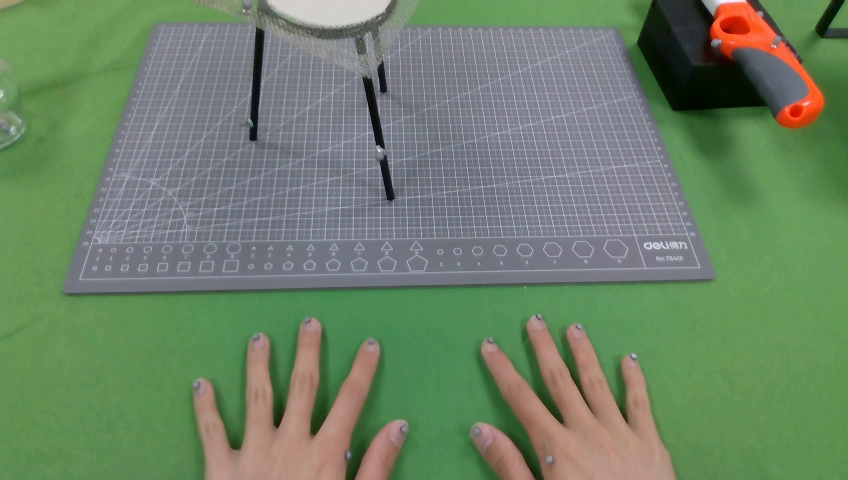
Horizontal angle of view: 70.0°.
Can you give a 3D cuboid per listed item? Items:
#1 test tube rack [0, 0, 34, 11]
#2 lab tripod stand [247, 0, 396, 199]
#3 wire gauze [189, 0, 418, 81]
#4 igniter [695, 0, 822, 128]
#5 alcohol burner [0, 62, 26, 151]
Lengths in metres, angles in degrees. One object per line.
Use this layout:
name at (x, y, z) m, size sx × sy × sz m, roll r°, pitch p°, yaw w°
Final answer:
test tube rack at (-0.354, -0.310, 0.596) m, size 0.242 × 0.086 × 0.066 m, roll -33°, pitch 62°, yaw -24°
lab tripod stand at (-0.063, -0.119, 0.442) m, size 0.148 × 0.132 × 0.147 m, roll 3°, pitch 54°, yaw -4°
wire gauze at (-0.064, -0.160, 0.388) m, size 0.124 × 0.011 × 0.121 m, roll 22°, pitch 56°, yaw 10°
igniter at (0.266, -0.193, 0.528) m, size 0.057 × 0.025 × 0.273 m, roll -5°, pitch 52°, yaw -4°
alcohol burner at (-0.347, -0.118, 0.439) m, size 0.078 × 0.120 × 0.077 m, roll 1°, pitch 55°, yaw -1°
